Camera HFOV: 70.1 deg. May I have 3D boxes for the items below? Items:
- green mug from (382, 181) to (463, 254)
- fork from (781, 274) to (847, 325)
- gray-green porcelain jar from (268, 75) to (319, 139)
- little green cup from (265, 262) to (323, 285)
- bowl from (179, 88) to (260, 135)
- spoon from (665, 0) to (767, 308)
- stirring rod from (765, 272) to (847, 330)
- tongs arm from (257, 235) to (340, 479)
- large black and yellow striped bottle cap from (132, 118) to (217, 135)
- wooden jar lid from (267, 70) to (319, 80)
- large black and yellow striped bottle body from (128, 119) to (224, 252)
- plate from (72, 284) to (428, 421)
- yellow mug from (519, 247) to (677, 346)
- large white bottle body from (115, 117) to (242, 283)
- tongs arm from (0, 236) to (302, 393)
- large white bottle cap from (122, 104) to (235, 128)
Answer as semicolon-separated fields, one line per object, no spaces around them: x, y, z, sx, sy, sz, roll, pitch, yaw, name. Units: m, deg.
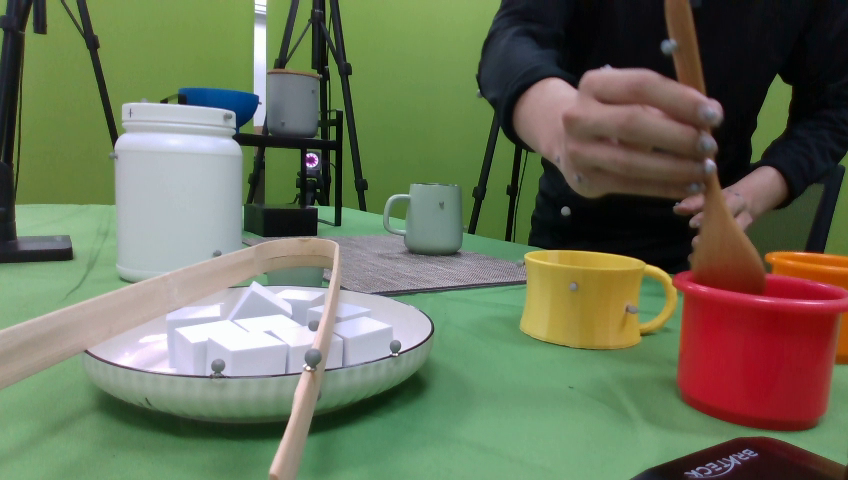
-0.001;-0.036;0.922;0.126;0.105;0.092;0;8;-16;green mug
0.332;0.018;0.443;0.028;0.018;0.207;-2;-35;-16;fork
-0.277;-0.278;1.280;0.106;0.126;0.106;2;8;0;gray-green porcelain jar
-0.134;0.033;0.628;0.061;0.038;0.061;3;7;0;little green cup
-0.400;-0.248;1.188;0.151;0.077;0.151;3;6;0;bowl
0.162;-0.044;0.349;0.041;0.194;0.022;-10;15;31;spoon
0.352;0.020;0.481;0.176;0.006;0.014;-40;-8;17;stirring rod
-0.074;0.040;0.345;0.051;0.026;0.384;-1;10;-3;tongs arm
-0.359;-0.164;0.875;0.115;0.019;0.115;2;6;0;large black and yellow striped bottle cap
-0.275;-0.339;1.271;0.108;0.020;0.108;5;6;0;wooden jar lid
-0.361;-0.081;0.887;0.131;0.184;0.130;2;8;0;large black and yellow striped bottle body
-0.102;0.067;0.381;0.208;0.039;0.207;2;7;0;plate
0.148;0.045;0.512;0.131;0.064;0.100;3;6;0;yellow mug
-0.270;-0.051;0.673;0.131;0.184;0.130;2;8;0;large white bottle body
-0.157;0.038;0.347;0.028;0.028;0.388;-3;8;12;tongs arm
-0.266;-0.135;0.663;0.115;0.018;0.115;3;7;0;large white bottle cap
